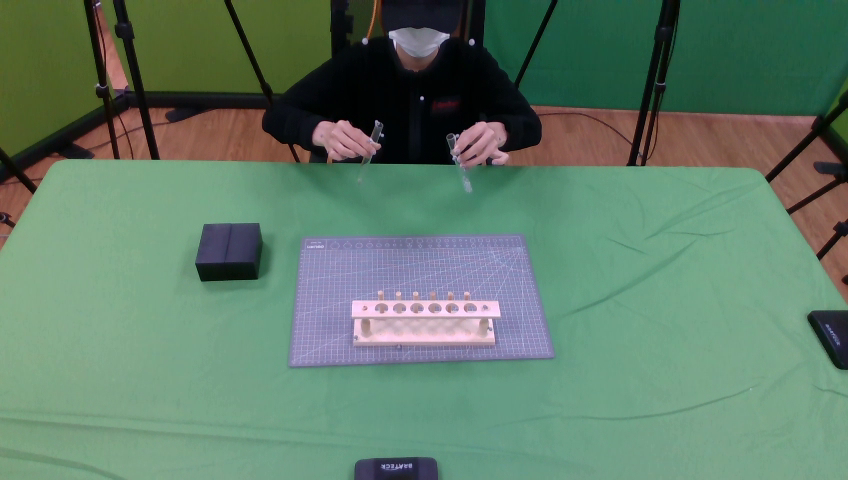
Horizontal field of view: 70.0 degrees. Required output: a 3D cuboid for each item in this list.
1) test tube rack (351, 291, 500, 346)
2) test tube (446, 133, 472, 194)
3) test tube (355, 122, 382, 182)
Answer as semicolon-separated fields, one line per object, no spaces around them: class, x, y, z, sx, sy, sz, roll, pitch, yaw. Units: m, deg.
test tube rack;0.000;0.129;1.026;0.242;0.085;0.066;1;46;-4
test tube;0.066;-0.138;1.116;0.017;0.151;0.017;-10;50;12
test tube;-0.108;-0.164;1.158;0.017;0.150;0.017;13;47;-14
